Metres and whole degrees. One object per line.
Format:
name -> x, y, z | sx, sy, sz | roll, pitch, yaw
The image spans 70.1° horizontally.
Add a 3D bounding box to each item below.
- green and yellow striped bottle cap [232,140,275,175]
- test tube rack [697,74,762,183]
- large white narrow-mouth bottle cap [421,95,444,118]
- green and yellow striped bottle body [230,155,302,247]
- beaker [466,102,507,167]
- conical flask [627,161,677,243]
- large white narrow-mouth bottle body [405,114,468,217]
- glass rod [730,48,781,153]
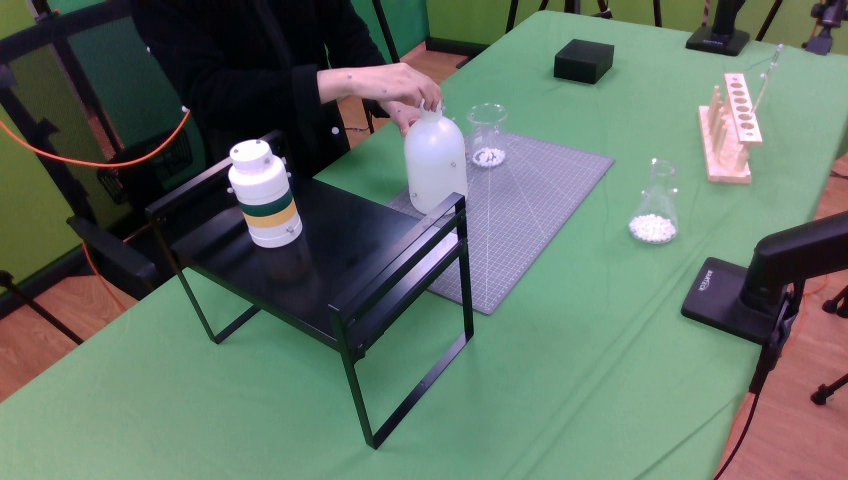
green and yellow striped bottle cap -> -0.192, -0.093, 0.680 | 0.045, 0.020, 0.045 | -5, 39, 5
test tube rack -> 0.547, -0.208, 1.095 | 0.066, 0.085, 0.242 | 5, 42, 15
large white narrow-mouth bottle cap -> 0.014, -0.210, 0.950 | 0.038, 0.024, 0.037 | -3, 38, 3
green and yellow striped bottle body -> -0.188, -0.055, 0.714 | 0.063, 0.120, 0.063 | -4, 41, 4
beaker -> 0.121, -0.195, 1.124 | 0.084, 0.101, 0.073 | -34, 48, -28
conical flask -> 0.355, -0.061, 0.921 | 0.075, 0.122, 0.075 | -4, 41, 4
large white narrow-mouth bottle body -> 0.020, -0.141, 1.004 | 0.102, 0.195, 0.101 | -3, 38, 3
glass rod -> 0.554, -0.228, 1.015 | 0.008, 0.200, 0.008 | 1, 44, -1
